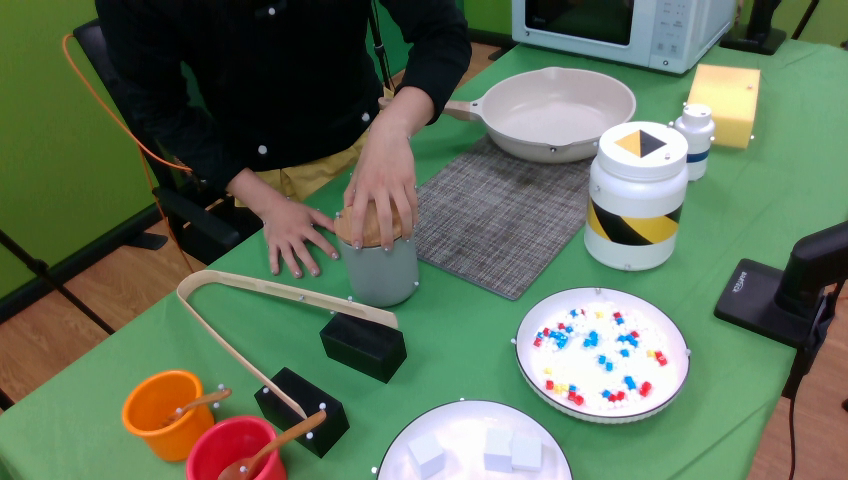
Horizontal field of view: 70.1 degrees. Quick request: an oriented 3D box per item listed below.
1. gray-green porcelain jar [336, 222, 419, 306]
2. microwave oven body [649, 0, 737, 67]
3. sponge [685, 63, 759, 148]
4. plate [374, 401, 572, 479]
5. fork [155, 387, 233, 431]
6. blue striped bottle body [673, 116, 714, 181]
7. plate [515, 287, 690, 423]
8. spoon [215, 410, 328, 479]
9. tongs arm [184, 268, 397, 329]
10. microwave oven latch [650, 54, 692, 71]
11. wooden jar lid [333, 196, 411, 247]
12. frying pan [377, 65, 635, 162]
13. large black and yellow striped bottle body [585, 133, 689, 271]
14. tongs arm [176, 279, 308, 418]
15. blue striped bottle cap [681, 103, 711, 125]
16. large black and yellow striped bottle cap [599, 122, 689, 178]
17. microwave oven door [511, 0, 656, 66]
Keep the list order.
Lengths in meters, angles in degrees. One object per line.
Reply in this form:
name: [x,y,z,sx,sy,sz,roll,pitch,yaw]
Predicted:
gray-green porcelain jar: [-0.064,0.024,0.872,0.106,0.127,0.105,-4,41,4]
microwave oven body: [0.475,-0.602,1.411,0.438,0.261,0.327,23,50,32]
sponge: [0.569,-0.263,1.164,0.117,0.061,0.207,12,45,22]
plate: [0.051,0.268,0.639,0.207,0.039,0.206,-3,40,3]
fork: [-0.263,0.192,0.688,0.018,0.206,0.028,51,44,-5]
blue striped bottle body: [0.451,-0.166,1.023,0.063,0.121,0.063,-5,41,4]
plate: [0.221,0.144,0.760,0.209,0.038,0.208,-4,40,4]
spoon: [-0.165,0.224,0.639,0.193,0.022,0.041,-40,32,30]
tongs arm: [-0.202,0.084,0.848,0.382,0.027,0.051,11,45,34]
microwave oven latch: [0.531,-0.386,1.301,0.078,0.029,0.030,25,51,32]
wooden jar lid: [-0.071,-0.023,0.830,0.108,0.021,0.108,-4,37,3]
frying pan: [0.150,-0.254,1.177,0.488,0.103,0.306,6,41,3]
large black and yellow striped bottle body: [0.305,-0.061,0.874,0.131,0.185,0.130,-4,41,4]
tongs arm: [-0.255,0.133,0.801,0.028,0.028,0.384,-41,40,-23]
blue striped bottle cap: [0.446,-0.205,0.990,0.044,0.021,0.044,-5,43,5]
large black and yellow striped bottle cap: [0.297,-0.123,0.818,0.115,0.019,0.114,-5,40,4]
microwave oven door: [0.350,-0.539,1.348,0.353,0.245,0.039,24,50,31]
